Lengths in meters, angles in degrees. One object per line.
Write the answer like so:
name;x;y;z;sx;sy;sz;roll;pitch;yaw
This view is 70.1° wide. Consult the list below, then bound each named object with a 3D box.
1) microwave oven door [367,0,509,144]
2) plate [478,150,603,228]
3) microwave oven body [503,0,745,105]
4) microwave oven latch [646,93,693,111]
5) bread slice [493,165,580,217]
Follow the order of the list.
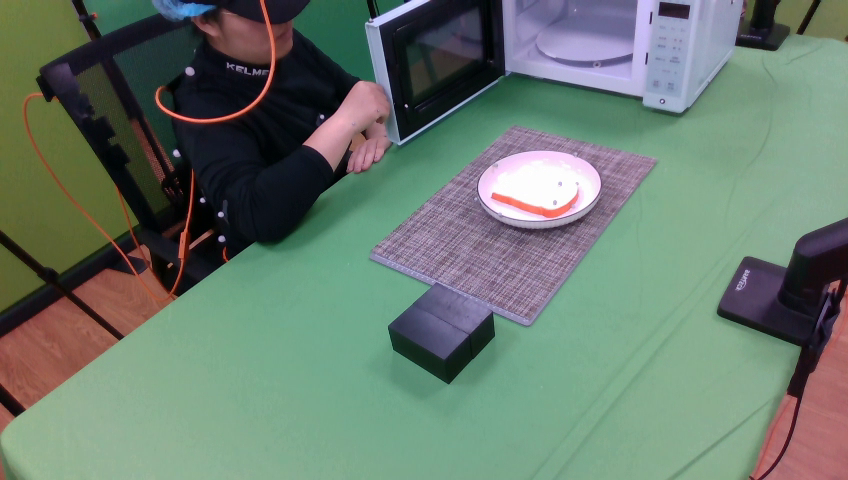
microwave oven door;0.044;-0.384;1.234;0.039;0.245;0.357;28;53;36
plate;0.198;-0.084;1.030;0.209;0.038;0.208;-5;40;5
microwave oven body;0.416;-0.486;1.290;0.438;0.261;0.327;21;50;33
microwave oven latch;0.477;-0.273;1.177;0.078;0.029;0.030;22;50;33
bread slice;0.200;-0.084;1.034;0.130;0.019;0.105;23;50;34
